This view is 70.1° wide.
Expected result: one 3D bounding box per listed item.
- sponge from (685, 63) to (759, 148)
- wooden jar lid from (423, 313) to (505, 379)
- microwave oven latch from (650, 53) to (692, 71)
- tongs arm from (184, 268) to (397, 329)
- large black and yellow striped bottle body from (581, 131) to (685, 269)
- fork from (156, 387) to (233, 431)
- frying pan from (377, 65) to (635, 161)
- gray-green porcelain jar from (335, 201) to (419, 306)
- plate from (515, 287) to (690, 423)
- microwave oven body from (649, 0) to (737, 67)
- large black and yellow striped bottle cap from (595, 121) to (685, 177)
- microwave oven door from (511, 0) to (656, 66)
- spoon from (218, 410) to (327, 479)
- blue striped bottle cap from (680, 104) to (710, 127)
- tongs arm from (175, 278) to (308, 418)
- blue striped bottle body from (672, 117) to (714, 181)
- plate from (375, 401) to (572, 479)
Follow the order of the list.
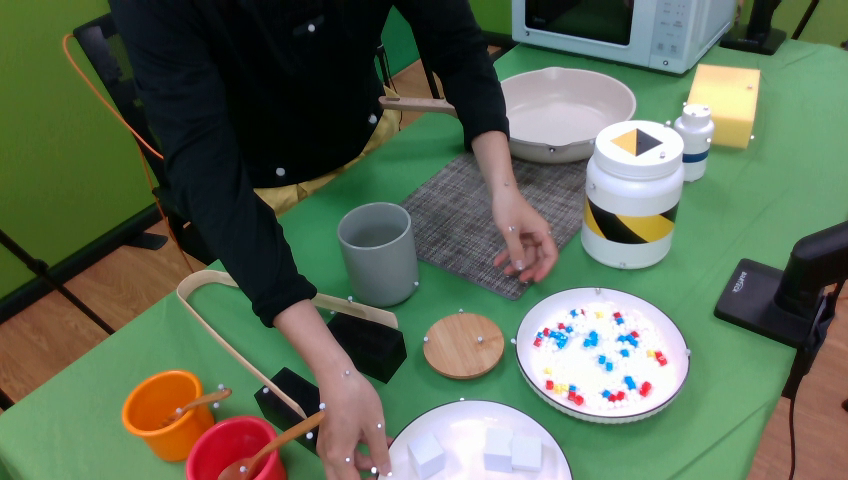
[{"bbox_3d":[0.569,-0.263,1.164,0.117,0.061,0.207,12,45,22],"label":"sponge"},{"bbox_3d":[0.053,0.142,0.800,0.108,0.021,0.108,-4,39,4],"label":"wooden jar lid"},{"bbox_3d":[0.531,-0.386,1.301,0.078,0.029,0.030,25,51,33],"label":"microwave oven latch"},{"bbox_3d":[-0.203,0.084,0.847,0.382,0.027,0.051,11,44,34],"label":"tongs arm"},{"bbox_3d":[0.301,-0.063,0.877,0.131,0.185,0.130,-4,41,4],"label":"large black and yellow striped bottle body"},{"bbox_3d":[-0.263,0.192,0.688,0.018,0.206,0.028,51,44,-5],"label":"fork"},{"bbox_3d":[0.150,-0.255,1.177,0.488,0.103,0.306,7,41,3],"label":"frying pan"},{"bbox_3d":[-0.064,0.024,0.872,0.106,0.127,0.105,-4,41,4],"label":"gray-green porcelain jar"},{"bbox_3d":[0.221,0.144,0.760,0.209,0.038,0.208,-4,40,4],"label":"plate"},{"bbox_3d":[0.475,-0.602,1.411,0.438,0.261,0.327,23,50,32],"label":"microwave oven body"},{"bbox_3d":[0.292,-0.126,0.821,0.115,0.019,0.114,-5,40,4],"label":"large black and yellow striped bottle cap"},{"bbox_3d":[0.350,-0.539,1.348,0.353,0.245,0.039,24,50,31],"label":"microwave oven door"},{"bbox_3d":[-0.164,0.225,0.640,0.193,0.022,0.041,-42,29,31],"label":"spoon"},{"bbox_3d":[0.443,-0.205,0.989,0.044,0.021,0.044,-1,41,2],"label":"blue striped bottle cap"},{"bbox_3d":[-0.255,0.132,0.801,0.028,0.028,0.384,-41,40,-23],"label":"tongs arm"},{"bbox_3d":[0.449,-0.165,1.022,0.063,0.121,0.063,-5,41,4],"label":"blue striped bottle body"},{"bbox_3d":[0.051,0.269,0.639,0.207,0.039,0.206,-4,40,4],"label":"plate"}]
